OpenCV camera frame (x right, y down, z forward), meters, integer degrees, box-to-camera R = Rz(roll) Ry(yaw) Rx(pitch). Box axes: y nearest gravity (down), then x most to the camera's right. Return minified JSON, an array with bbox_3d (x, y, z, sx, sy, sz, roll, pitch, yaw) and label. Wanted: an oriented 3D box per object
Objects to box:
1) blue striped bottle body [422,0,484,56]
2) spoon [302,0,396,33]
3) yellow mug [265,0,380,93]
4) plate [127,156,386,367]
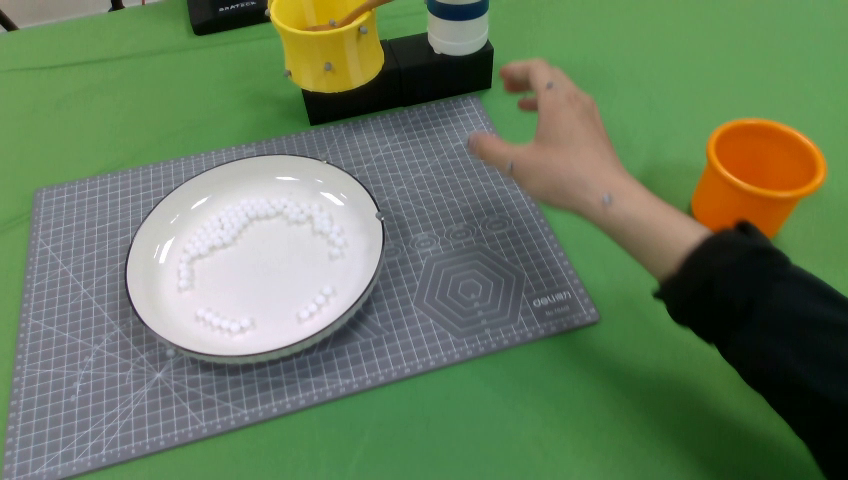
[{"bbox_3d":[0.028,-0.248,0.589,0.063,0.122,0.062,-1,52,2],"label":"blue striped bottle body"},{"bbox_3d":[-0.054,-0.210,0.558,0.193,0.022,0.041,-11,40,37],"label":"spoon"},{"bbox_3d":[-0.109,-0.207,0.599,0.130,0.064,0.099,26,57,23],"label":"yellow mug"},{"bbox_3d":[-0.134,0.015,0.505,0.207,0.039,0.205,-1,52,1],"label":"plate"}]
